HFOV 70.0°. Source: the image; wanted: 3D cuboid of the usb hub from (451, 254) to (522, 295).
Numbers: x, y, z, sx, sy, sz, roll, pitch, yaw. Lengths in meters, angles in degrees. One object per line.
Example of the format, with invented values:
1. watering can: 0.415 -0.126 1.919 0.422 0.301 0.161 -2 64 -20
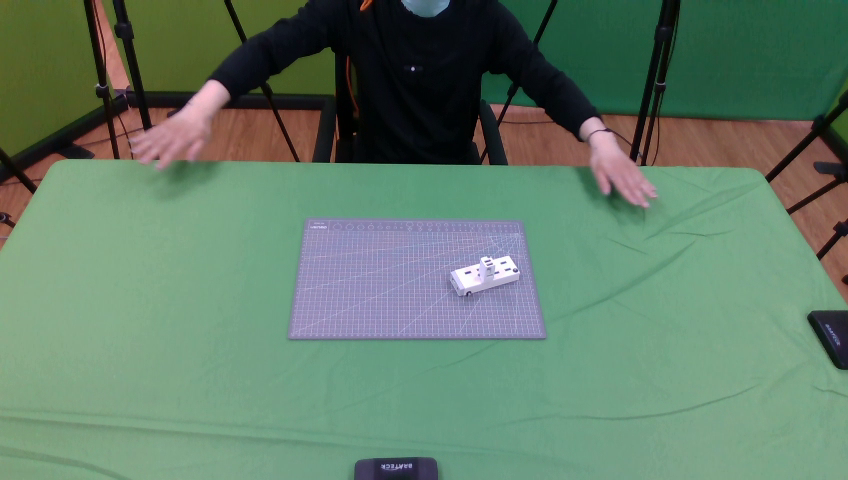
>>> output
1. usb hub: 0.117 0.065 1.132 0.125 0.025 0.049 -15 49 -16

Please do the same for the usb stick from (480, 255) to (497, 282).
1. usb stick: 0.116 0.056 1.100 0.021 0.059 0.027 -16 51 -17
